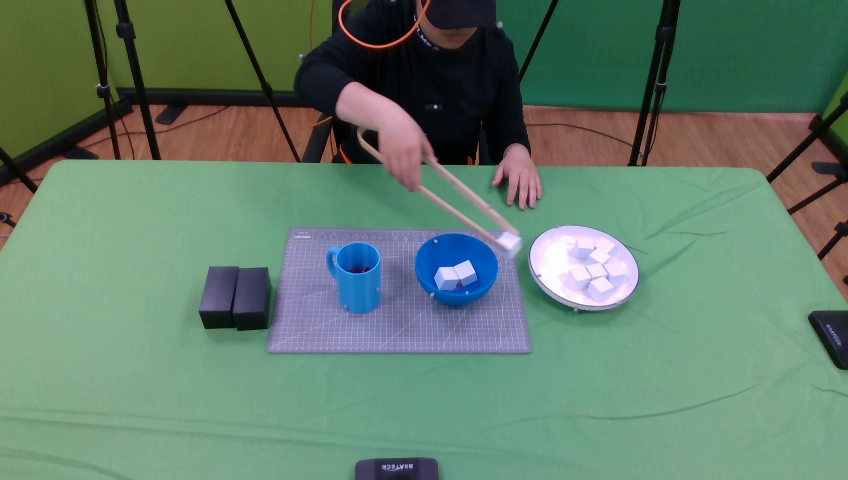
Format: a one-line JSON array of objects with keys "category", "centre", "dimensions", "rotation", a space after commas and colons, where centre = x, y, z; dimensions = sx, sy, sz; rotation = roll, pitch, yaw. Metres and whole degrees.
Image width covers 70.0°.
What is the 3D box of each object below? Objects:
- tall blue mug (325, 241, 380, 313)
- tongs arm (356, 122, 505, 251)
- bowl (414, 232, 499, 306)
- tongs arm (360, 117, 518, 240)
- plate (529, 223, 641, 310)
[{"category": "tall blue mug", "centre": [-0.130, 0.063, 1.063], "dimensions": [0.107, 0.108, 0.077], "rotation": [9, 47, 5]}, {"category": "tongs arm", "centre": [0.003, -0.102, 1.129], "dimensions": [0.386, 0.028, 0.028], "rotation": [40, 77, 19]}, {"category": "bowl", "centre": [0.056, 0.066, 1.095], "dimensions": [0.151, 0.077, 0.150], "rotation": [2, 46, -2]}, {"category": "tongs arm", "centre": [0.020, -0.118, 1.135], "dimensions": [0.051, 0.026, 0.383], "rotation": [-40, 69, -14]}, {"category": "plate", "centre": [0.303, 0.053, 1.156], "dimensions": [0.209, 0.038, 0.208], "rotation": [2, 46, -1]}]
